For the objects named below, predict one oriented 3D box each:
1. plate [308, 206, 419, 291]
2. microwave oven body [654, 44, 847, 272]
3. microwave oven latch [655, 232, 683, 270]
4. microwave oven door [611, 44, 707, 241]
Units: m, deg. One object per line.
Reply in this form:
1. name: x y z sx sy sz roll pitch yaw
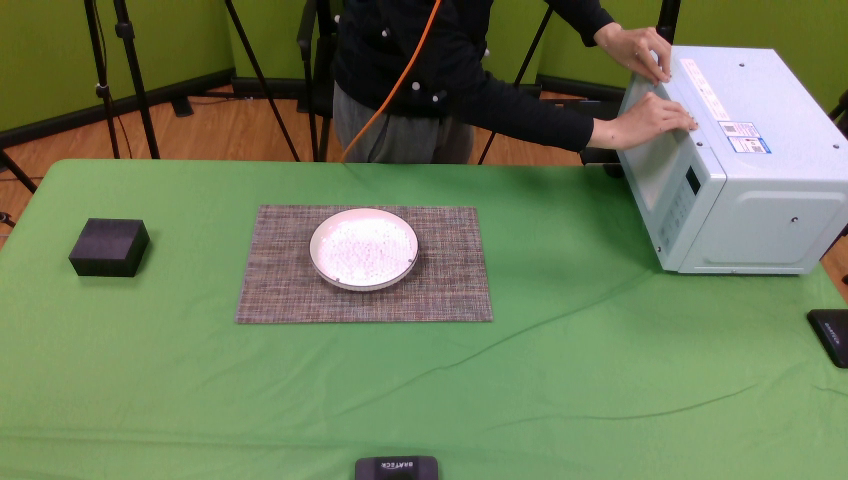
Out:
1. plate: -0.114 0.019 1.154 0.209 0.038 0.208 2 47 -2
2. microwave oven body: 0.621 -0.172 1.234 0.326 0.261 0.439 0 46 -3
3. microwave oven latch: 0.474 0.021 1.175 0.030 0.029 0.078 2 46 -1
4. microwave oven door: 0.474 -0.208 1.250 0.039 0.245 0.353 1 47 -3
